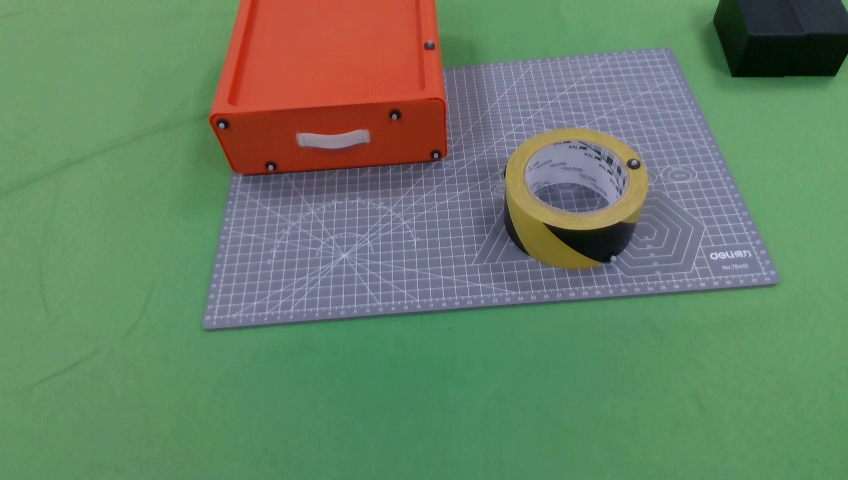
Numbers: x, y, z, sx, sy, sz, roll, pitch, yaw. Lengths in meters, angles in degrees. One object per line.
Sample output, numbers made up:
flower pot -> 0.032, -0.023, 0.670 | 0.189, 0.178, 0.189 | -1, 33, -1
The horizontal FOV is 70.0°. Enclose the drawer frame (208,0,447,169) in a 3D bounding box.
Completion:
drawer frame -> -0.084, -0.174, 0.591 | 0.202, 0.083, 0.211 | -5, 53, 1

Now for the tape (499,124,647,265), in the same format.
tape -> 0.121, -0.038, 0.496 | 0.117, 0.053, 0.115 | -2, 54, 4

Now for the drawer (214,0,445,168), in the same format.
drawer -> -0.083, -0.172, 0.590 | 0.194, 0.074, 0.209 | -4, 53, 2
